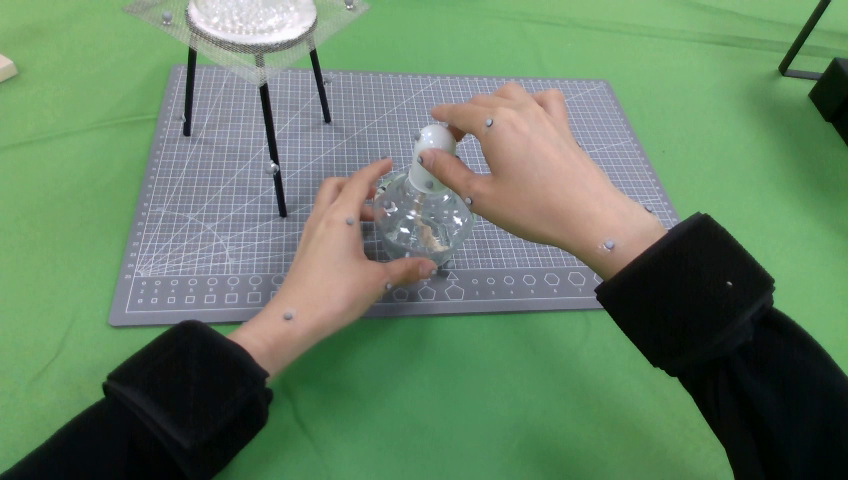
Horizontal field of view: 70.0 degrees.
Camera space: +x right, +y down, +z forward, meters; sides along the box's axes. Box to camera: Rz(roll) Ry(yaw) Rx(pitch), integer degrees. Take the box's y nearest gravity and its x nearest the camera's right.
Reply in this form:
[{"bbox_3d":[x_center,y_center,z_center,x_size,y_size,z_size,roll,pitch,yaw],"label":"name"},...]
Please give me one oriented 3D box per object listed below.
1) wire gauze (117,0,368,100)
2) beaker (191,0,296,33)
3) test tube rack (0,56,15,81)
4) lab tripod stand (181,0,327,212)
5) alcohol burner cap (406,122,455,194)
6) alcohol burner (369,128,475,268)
[{"bbox_3d":[-0.121,-0.159,0.421,0.124,0.011,0.121,32,55,12],"label":"wire gauze"},{"bbox_3d":[-0.120,-0.191,0.383,0.073,0.101,0.083,30,53,15],"label":"beaker"},{"bbox_3d":[-0.457,-0.122,0.455,0.066,0.086,0.241,29,51,15],"label":"test tube rack"},{"bbox_3d":[-0.127,-0.117,0.470,0.149,0.132,0.147,6,50,-7],"label":"lab tripod stand"},{"bbox_3d":[0.006,-0.057,0.407,0.034,0.048,0.033,3,54,-4],"label":"alcohol burner cap"},{"bbox_3d":[0.001,-0.035,0.436,0.078,0.120,0.077,6,48,-6],"label":"alcohol burner"}]
